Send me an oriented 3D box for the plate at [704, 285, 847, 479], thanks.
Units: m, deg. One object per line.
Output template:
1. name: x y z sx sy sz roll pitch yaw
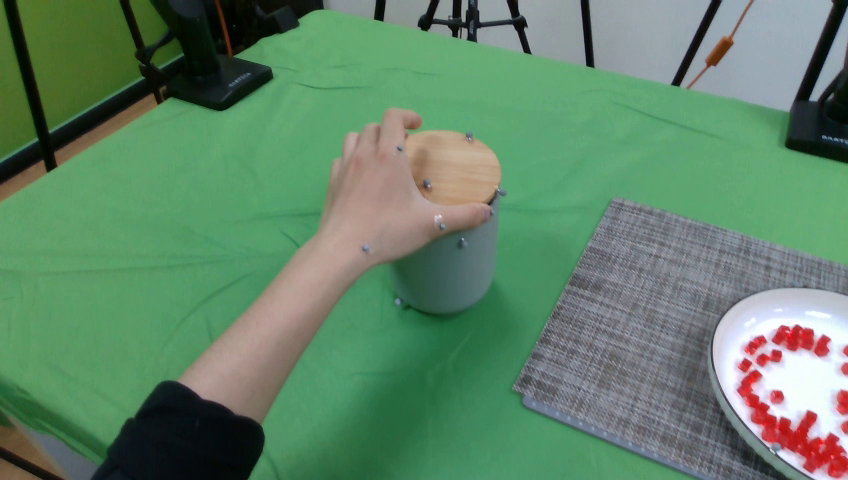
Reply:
1. plate: 0.334 0.124 0.490 0.208 0.039 0.205 0 43 1

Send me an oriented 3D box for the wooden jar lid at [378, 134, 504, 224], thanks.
1. wooden jar lid: 0.014 -0.051 0.525 0.108 0.021 0.107 1 48 0

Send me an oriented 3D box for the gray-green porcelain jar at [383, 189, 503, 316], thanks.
1. gray-green porcelain jar: 0.017 0.001 0.572 0.106 0.127 0.105 0 43 1
